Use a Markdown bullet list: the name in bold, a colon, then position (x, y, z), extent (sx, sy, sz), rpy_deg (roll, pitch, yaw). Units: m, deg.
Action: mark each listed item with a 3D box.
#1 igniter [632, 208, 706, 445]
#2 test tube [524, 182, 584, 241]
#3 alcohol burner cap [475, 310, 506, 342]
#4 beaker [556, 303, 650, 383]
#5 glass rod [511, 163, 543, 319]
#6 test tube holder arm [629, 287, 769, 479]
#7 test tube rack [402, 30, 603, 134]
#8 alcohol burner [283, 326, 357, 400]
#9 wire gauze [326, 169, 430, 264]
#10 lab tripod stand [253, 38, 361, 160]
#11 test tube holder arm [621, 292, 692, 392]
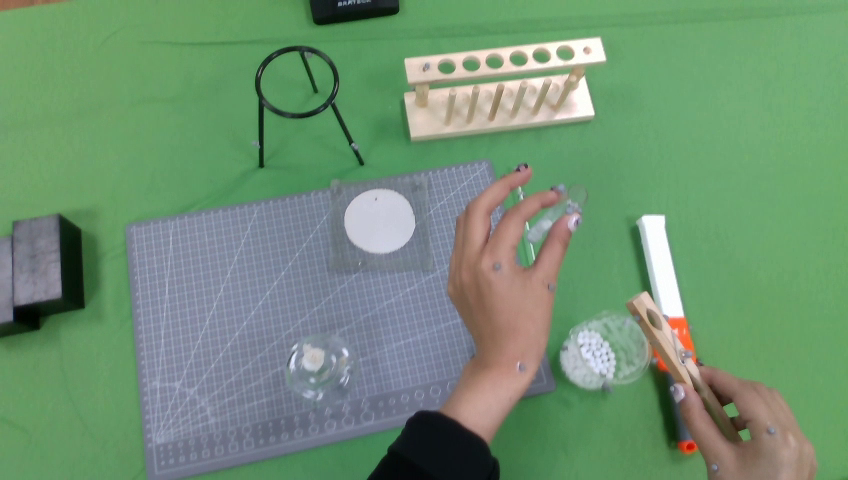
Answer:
- **igniter**: position (0.284, 0.094, 0.706), extent (0.057, 0.025, 0.274), rpy_deg (0, 72, -14)
- **test tube**: position (0.104, -0.020, 0.501), extent (0.017, 0.150, 0.017), rpy_deg (0, 79, -2)
- **alcohol burner cap**: position (0.077, 0.095, 0.684), extent (0.034, 0.048, 0.033), rpy_deg (1, 72, -2)
- **beaker**: position (0.185, 0.115, 0.657), extent (0.084, 0.101, 0.073), rpy_deg (19, 71, 5)
- **glass rod**: position (0.125, -0.002, 0.738), extent (0.008, 0.008, 0.198), rpy_deg (-6, 74, -5)
- **test tube holder arm**: position (0.215, 0.114, 0.476), extent (0.013, 0.015, 0.178), rpy_deg (-34, 87, -12)
- **test tube rack**: position (0.096, -0.197, 0.760), extent (0.243, 0.085, 0.066), rpy_deg (-8, 72, -5)
- **alcohol burner**: position (-0.110, 0.124, 0.627), extent (0.078, 0.120, 0.077), rpy_deg (0, 71, -1)
- **wire gauze**: position (-0.056, -0.029, 0.736), extent (0.125, 0.011, 0.120), rpy_deg (0, 73, -4)
- **lab tripod stand**: position (-0.143, -0.156, 0.709), extent (0.148, 0.132, 0.147), rpy_deg (1, 74, -3)
- **test tube holder arm**: position (0.185, 0.080, 0.477), extent (0.010, 0.015, 0.087), rpy_deg (-33, 87, -12)
